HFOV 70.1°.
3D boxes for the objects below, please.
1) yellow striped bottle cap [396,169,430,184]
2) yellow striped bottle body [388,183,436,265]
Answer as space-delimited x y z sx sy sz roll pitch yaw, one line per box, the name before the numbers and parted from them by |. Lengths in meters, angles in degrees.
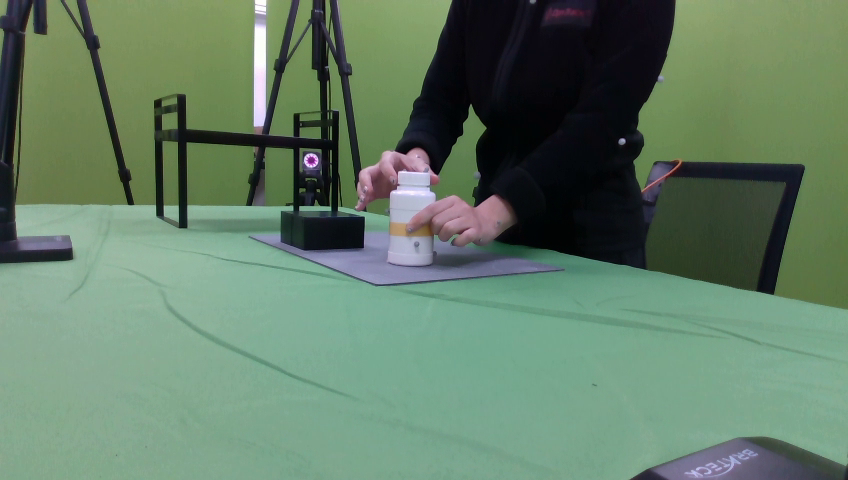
yellow striped bottle cap | -0.014 -0.084 0.803 0.044 0.018 0.044 3 6 0
yellow striped bottle body | -0.016 -0.030 0.811 0.063 0.120 0.063 2 7 0
